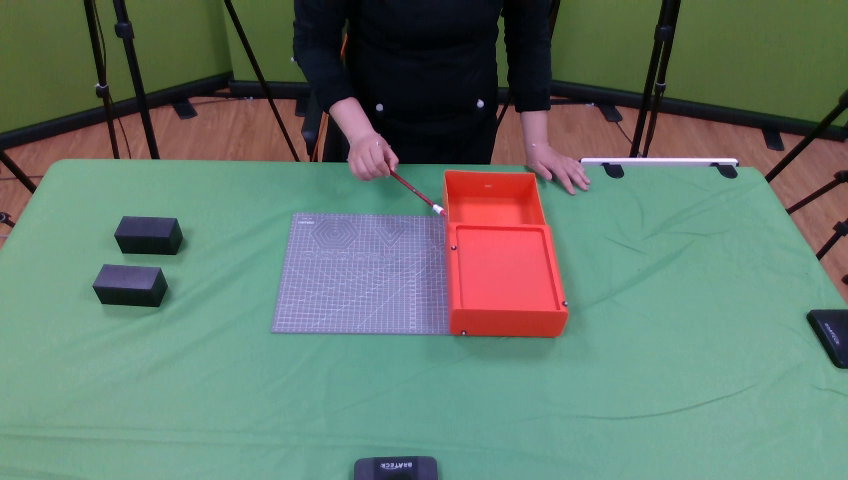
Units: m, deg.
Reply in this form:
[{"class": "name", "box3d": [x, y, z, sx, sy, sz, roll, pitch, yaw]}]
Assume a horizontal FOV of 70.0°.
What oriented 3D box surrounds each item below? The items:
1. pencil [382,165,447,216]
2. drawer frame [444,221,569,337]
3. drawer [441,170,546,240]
[{"class": "pencil", "box3d": [-0.023, -0.098, 1.158, 0.012, 0.012, 0.193, -29, 51, -29]}, {"class": "drawer frame", "box3d": [0.141, 0.067, 1.097, 0.202, 0.083, 0.212, 2, 46, -4]}, {"class": "drawer", "box3d": [0.137, -0.048, 1.214, 0.195, 0.073, 0.210, 2, 44, -4]}]
